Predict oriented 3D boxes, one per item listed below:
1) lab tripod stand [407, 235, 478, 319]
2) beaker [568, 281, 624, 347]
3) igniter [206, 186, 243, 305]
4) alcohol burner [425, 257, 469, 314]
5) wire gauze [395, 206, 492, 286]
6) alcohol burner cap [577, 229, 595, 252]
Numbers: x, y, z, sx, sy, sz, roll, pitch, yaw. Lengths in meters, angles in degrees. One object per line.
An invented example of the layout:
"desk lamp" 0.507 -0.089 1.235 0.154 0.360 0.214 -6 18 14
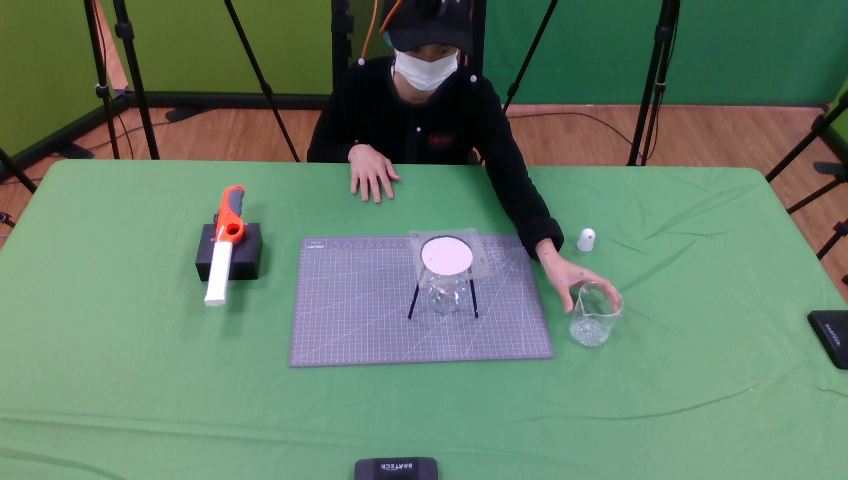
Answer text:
"lab tripod stand" 0.032 0.065 1.057 0.148 0.132 0.147 1 45 -1
"beaker" 0.290 0.132 1.040 0.084 0.101 0.073 -34 57 -31
"igniter" -0.361 0.001 1.100 0.057 0.025 0.274 -2 49 -6
"alcohol burner" 0.041 0.074 1.063 0.078 0.120 0.077 1 46 -1
"wire gauze" 0.031 0.010 0.993 0.125 0.011 0.120 -24 57 -17
"alcohol burner cap" 0.326 -0.002 1.212 0.034 0.048 0.033 1 47 -1
